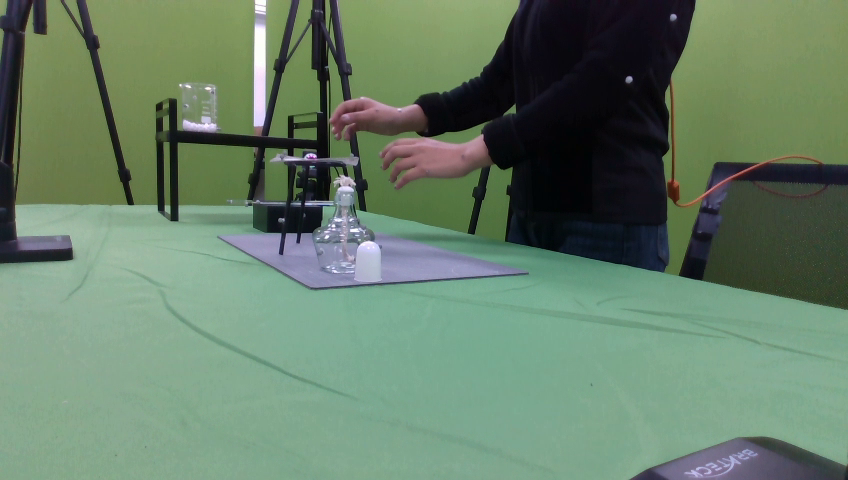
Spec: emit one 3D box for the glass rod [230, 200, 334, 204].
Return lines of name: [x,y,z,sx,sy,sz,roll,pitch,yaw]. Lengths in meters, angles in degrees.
glass rod: [-0.267,-0.072,1.155,0.201,0.008,0.008,-1,8,-28]

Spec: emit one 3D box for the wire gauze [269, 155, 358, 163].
wire gauze: [-0.159,-0.118,0.886,0.122,0.011,0.125,1,7,-9]

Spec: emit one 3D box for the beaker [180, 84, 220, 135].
beaker: [-0.475,-0.275,1.281,0.073,0.100,0.084,7,9,36]

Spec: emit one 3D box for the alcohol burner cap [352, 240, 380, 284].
alcohol burner cap: [-0.065,0.023,0.690,0.034,0.048,0.034,3,10,0]

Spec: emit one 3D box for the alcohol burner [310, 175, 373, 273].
alcohol burner: [-0.100,-0.020,0.740,0.078,0.119,0.078,1,6,0]

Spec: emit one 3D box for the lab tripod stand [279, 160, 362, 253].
lab tripod stand: [-0.166,-0.052,0.897,0.148,0.131,0.148,0,7,0]
